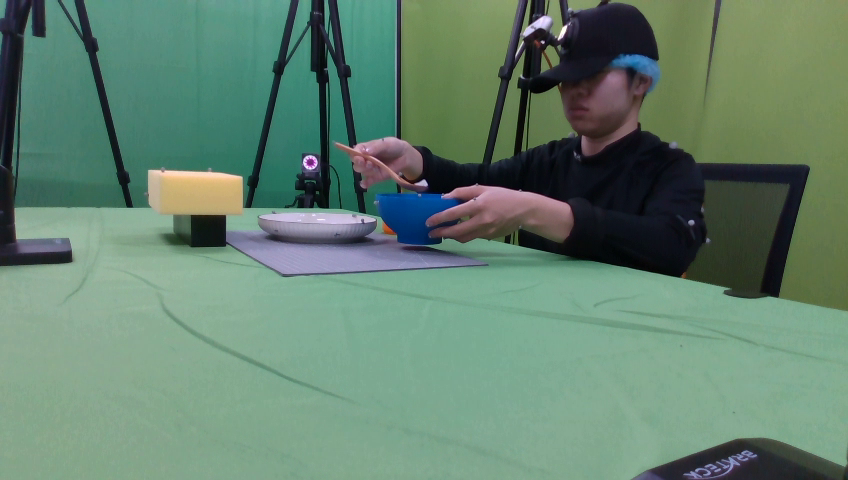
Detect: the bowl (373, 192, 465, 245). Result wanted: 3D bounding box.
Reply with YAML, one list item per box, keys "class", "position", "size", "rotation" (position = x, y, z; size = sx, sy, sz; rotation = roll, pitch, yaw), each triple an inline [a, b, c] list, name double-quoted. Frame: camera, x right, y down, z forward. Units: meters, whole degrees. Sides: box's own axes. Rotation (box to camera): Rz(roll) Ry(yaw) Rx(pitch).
- class: "bowl"
  position: [-0.009, -0.035, 0.986]
  size: [0.151, 0.077, 0.151]
  rotation: [3, 8, 0]

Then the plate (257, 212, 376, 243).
- class: "plate"
  position: [-0.189, -0.023, 1.072]
  size: [0.209, 0.038, 0.209]
  rotation: [3, 7, 0]

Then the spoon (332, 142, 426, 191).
- class: "spoon"
  position: [-0.078, -0.127, 1.021]
  size: [0.193, 0.021, 0.042]
  rotation: [32, 11, 21]

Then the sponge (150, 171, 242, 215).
- class: "sponge"
  position: [-0.379, -0.079, 0.994]
  size: [0.119, 0.061, 0.206]
  rotation: [-1, 8, -29]
